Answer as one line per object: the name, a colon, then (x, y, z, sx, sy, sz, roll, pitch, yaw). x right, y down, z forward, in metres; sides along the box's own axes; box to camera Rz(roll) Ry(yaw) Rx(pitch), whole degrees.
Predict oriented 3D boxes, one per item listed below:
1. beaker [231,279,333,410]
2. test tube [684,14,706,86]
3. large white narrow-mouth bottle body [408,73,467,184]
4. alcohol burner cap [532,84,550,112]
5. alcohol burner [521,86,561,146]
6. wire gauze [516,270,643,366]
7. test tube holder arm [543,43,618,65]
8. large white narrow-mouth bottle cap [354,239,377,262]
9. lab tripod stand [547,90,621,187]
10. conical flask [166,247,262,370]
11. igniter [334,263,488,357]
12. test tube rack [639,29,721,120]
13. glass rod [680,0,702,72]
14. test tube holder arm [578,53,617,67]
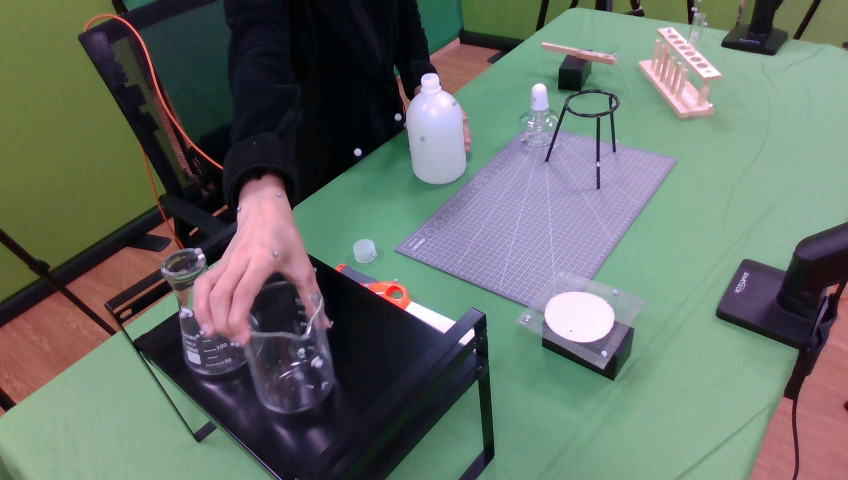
beaker: (-0.121, 0.097, 0.542, 0.074, 0.100, 0.083, -27, 40, -31)
test tube: (0.540, -0.378, 1.215, 0.017, 0.151, 0.017, -2, 44, 3)
large white narrow-mouth bottle body: (0.023, -0.204, 1.085, 0.102, 0.195, 0.101, -4, 40, 4)
alcohol burner cap: (0.218, -0.269, 1.133, 0.034, 0.048, 0.033, -8, 36, 7)
alcohol burner: (0.223, -0.241, 1.155, 0.078, 0.119, 0.077, -5, 43, 5)
wire gauze: (0.200, 0.093, 0.777, 0.124, 0.011, 0.122, 23, 49, 32)
test tube holder arm: (0.344, -0.413, 1.340, 0.177, 0.015, 0.013, 25, 51, 31)
large white narrow-mouth bottle cap: (-0.095, 0.017, 0.981, 0.038, 0.024, 0.037, -4, 40, 4)
lab tripod stand: (0.288, -0.184, 1.062, 0.148, 0.132, 0.147, -6, 41, 6)
conical flask: (-0.209, 0.064, 0.584, 0.075, 0.122, 0.075, -5, 41, 4)
igniter: (-0.030, 0.095, 0.872, 0.274, 0.025, 0.057, 23, 60, 31)
test tube rack: (0.527, -0.351, 1.262, 0.067, 0.085, 0.241, -8, 40, 1)
glass rod: (0.542, -0.417, 1.233, 0.008, 0.200, 0.008, 1, 40, 0)
test tube holder arm: (0.376, -0.393, 1.314, 0.087, 0.015, 0.010, 26, 51, 32)
